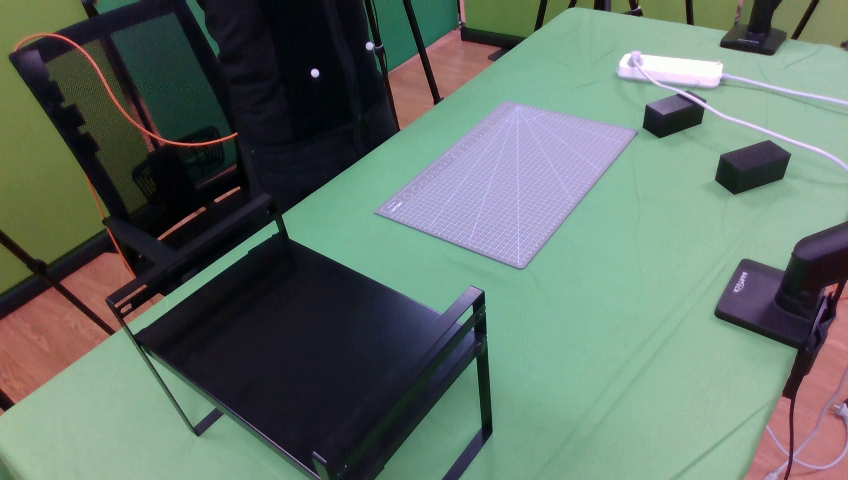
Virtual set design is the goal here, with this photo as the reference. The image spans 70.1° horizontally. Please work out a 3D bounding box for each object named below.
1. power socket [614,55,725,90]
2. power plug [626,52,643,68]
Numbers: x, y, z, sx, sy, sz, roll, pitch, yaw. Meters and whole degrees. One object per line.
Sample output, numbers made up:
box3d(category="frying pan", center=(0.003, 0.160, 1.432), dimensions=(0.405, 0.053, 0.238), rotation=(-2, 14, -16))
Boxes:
box3d(category="power socket", center=(0.532, -0.367, 1.316), dimensions=(0.225, 0.033, 0.072), rotation=(14, 46, 23))
box3d(category="power plug", center=(0.450, -0.379, 1.314), dimensions=(0.035, 0.053, 0.073), rotation=(23, 52, 31))
